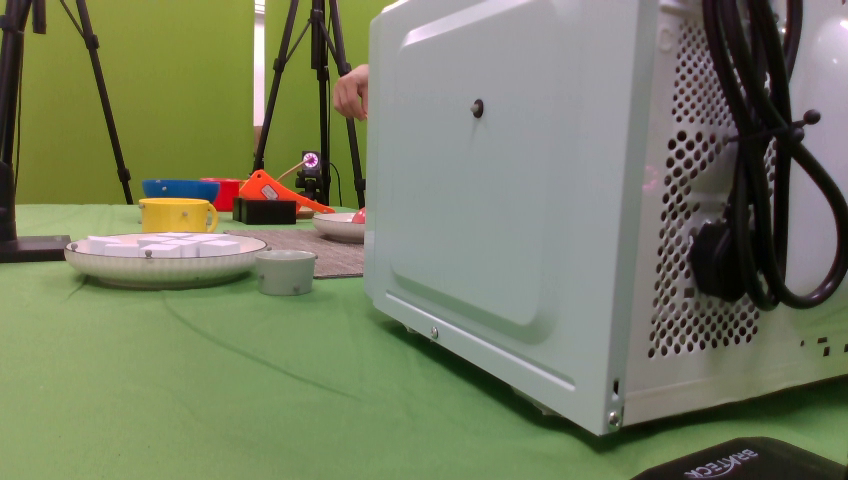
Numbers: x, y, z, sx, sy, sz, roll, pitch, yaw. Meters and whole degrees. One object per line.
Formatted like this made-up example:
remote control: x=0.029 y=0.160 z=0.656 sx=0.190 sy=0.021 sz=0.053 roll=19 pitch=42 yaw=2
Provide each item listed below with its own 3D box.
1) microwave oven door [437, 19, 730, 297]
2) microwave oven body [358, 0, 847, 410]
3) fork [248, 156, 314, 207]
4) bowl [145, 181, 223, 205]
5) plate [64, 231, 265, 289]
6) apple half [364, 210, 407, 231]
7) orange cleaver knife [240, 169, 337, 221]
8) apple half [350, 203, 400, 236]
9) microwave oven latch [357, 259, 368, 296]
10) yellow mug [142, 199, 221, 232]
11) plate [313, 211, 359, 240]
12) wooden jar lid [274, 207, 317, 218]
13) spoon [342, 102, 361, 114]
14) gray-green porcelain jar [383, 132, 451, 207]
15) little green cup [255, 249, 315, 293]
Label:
microwave oven door: x=0.181 y=-0.076 z=0.618 sx=0.358 sy=0.243 sz=0.039 roll=-2 pitch=9 yaw=-28
microwave oven body: x=0.210 y=-0.051 z=0.471 sx=0.444 sy=0.260 sz=0.324 roll=-1 pitch=7 yaw=-28
fork: x=-0.360 y=-0.147 z=1.523 sx=0.207 sy=0.019 sz=0.028 roll=-43 pitch=16 yaw=-6
bowl: x=-0.499 y=-0.081 z=1.261 sx=0.151 sy=0.077 sz=0.151 roll=2 pitch=8 yaw=0
plate: x=-0.288 y=0.021 z=0.687 sx=0.208 sy=0.039 sz=0.207 roll=2 pitch=8 yaw=0
apple half: x=-0.068 y=-0.037 z=1.103 sx=0.081 sy=0.033 sz=0.081 roll=-1 pitch=10 yaw=1
orange cleaver knife: x=-0.287 y=-0.081 z=1.298 sx=0.212 sy=0.077 sz=0.012 roll=25 pitch=-3 yaw=-31
apple half: x=-0.081 y=-0.036 z=1.024 sx=0.081 sy=0.053 sz=0.074 roll=-2 pitch=11 yaw=-34
microwave oven latch: x=-0.019 y=0.031 z=0.528 sx=0.079 sy=0.029 sz=0.030 roll=-1 pitch=7 yaw=-25
yellow mug: x=-0.372 y=-0.030 z=0.948 sx=0.099 sy=0.064 sz=0.131 roll=6 pitch=7 yaw=30
plate: x=-0.091 y=-0.026 z=1.063 sx=0.209 sy=0.038 sz=0.209 roll=2 pitch=7 yaw=0
wooden jar lid: x=-0.303 y=-0.065 z=1.409 sx=0.108 sy=0.020 sz=0.108 roll=3 pitch=9 yaw=0
spoon: x=-0.120 y=-0.252 z=1.229 sx=0.042 sy=0.021 sz=0.192 roll=-2 pitch=31 yaw=-35
gray-green porcelain jar: x=-0.010 y=-0.138 z=1.216 sx=0.106 sy=0.126 sz=0.106 roll=-22 pitch=16 yaw=7
little green cup: x=-0.144 y=0.032 z=0.627 sx=0.061 sy=0.038 sz=0.061 roll=2 pitch=6 yaw=0
